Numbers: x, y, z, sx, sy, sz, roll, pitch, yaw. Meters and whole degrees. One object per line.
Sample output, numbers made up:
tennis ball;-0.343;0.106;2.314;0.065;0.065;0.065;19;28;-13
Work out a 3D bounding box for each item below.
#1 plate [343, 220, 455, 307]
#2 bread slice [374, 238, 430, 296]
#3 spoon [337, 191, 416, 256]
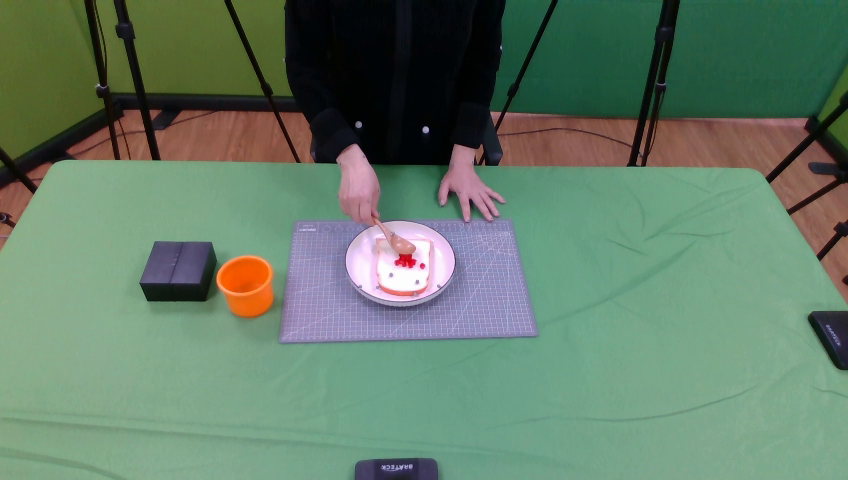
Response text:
plate;-0.047;0.046;1.135;0.209;0.038;0.208;2;46;-2
bread slice;-0.039;0.048;1.135;0.107;0.018;0.133;-1;46;-4
spoon;-0.093;-0.034;1.149;0.193;0.022;0.041;42;56;11
